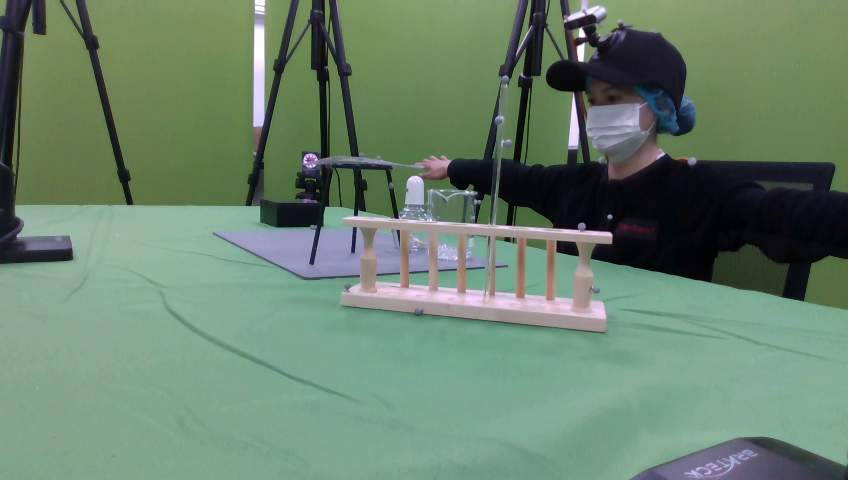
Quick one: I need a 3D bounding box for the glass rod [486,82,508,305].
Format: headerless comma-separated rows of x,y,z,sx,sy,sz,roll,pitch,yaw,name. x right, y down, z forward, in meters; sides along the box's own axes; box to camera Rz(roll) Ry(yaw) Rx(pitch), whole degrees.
0.064,-0.035,0.528,0.008,0.199,0.008,2,13,0,glass rod

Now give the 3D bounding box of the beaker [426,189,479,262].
0.039,-0.022,0.871,0.074,0.100,0.084,4,8,12,beaker

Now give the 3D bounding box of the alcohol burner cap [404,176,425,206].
-0.015,-0.077,0.951,0.034,0.048,0.034,3,4,0,alcohol burner cap

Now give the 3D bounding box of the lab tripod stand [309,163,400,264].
-0.091,-0.037,0.813,0.148,0.131,0.148,1,6,0,lab tripod stand

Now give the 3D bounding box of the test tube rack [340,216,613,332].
0.048,0.026,0.568,0.242,0.085,0.067,4,8,13,test tube rack

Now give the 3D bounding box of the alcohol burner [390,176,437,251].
-0.016,-0.042,0.955,0.078,0.119,0.078,4,6,0,alcohol burner

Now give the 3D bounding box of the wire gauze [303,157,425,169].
-0.082,-0.102,0.799,0.126,0.011,0.121,-1,7,-30,wire gauze
